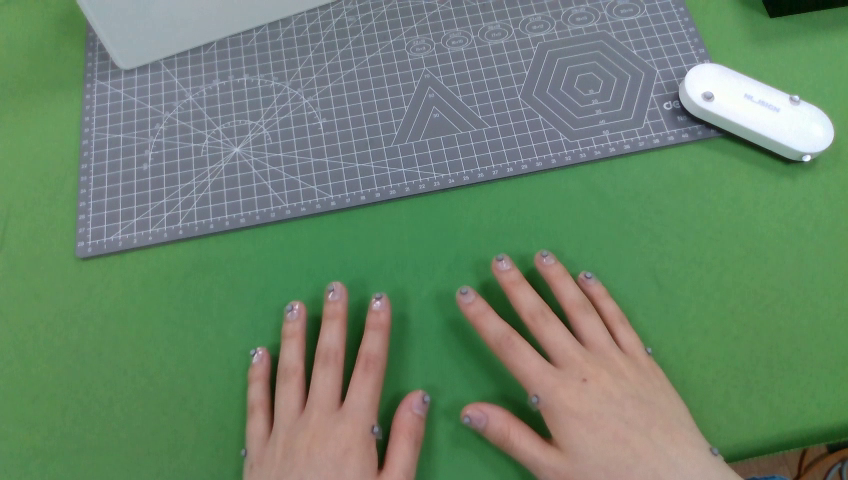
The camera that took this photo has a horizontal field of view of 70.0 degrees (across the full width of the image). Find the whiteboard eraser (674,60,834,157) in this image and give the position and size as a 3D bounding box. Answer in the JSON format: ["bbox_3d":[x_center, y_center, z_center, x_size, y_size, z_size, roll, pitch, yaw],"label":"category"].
[{"bbox_3d":[0.219,-0.088,0.403,0.101,0.019,0.041,28,70,11],"label":"whiteboard eraser"}]

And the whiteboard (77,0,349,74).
[{"bbox_3d":[-0.171,-0.307,0.391,0.217,0.308,0.142,-20,48,-5],"label":"whiteboard"}]
